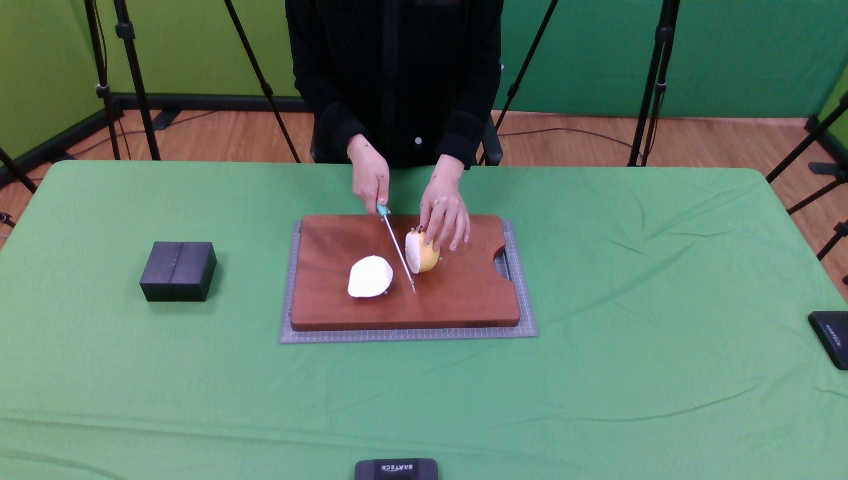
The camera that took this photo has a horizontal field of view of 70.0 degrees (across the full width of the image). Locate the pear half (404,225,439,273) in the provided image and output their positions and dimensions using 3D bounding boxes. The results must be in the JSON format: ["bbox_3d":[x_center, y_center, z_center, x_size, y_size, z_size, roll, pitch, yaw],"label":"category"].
[{"bbox_3d":[0.000,0.007,1.091,0.056,0.110,0.076,-20,58,-21],"label":"pear half"}]

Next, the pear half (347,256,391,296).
[{"bbox_3d":[-0.100,0.070,1.075,0.088,0.031,0.070,-41,75,-14],"label":"pear half"}]

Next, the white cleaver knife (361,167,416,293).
[{"bbox_3d":[-0.067,-0.024,1.112,0.021,0.066,0.284,-20,56,-3],"label":"white cleaver knife"}]
